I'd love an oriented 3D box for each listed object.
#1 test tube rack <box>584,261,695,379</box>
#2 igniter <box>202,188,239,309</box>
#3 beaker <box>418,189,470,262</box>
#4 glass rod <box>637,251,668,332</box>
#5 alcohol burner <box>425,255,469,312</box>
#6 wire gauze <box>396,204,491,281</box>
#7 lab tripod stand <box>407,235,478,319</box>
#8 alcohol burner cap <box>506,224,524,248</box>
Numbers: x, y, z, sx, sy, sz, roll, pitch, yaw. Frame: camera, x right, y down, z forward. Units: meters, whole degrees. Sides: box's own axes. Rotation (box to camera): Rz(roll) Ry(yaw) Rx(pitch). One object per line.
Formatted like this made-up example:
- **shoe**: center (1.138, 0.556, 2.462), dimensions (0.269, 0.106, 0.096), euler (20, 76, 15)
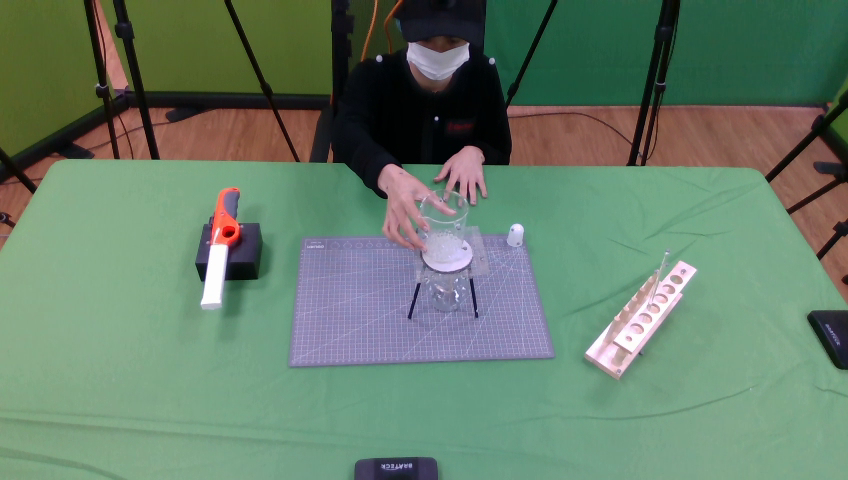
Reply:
- **test tube rack**: center (0.380, 0.127, 1.062), dimensions (0.066, 0.085, 0.242), euler (34, 53, 26)
- **igniter**: center (-0.367, 0.006, 1.095), dimensions (0.057, 0.025, 0.274), euler (-2, 49, -7)
- **beaker**: center (0.028, -0.019, 0.967), dimensions (0.084, 0.101, 0.073), euler (-18, 51, -18)
- **glass rod**: center (0.378, 0.090, 1.005), dimensions (0.008, 0.201, 0.008), euler (-1, 44, 1)
- **alcohol burner**: center (0.041, 0.072, 1.065), dimensions (0.078, 0.120, 0.077), euler (1, 46, -1)
- **wire gauze**: center (0.032, 0.004, 0.999), dimensions (0.125, 0.011, 0.120), euler (-22, 54, -14)
- **lab tripod stand**: center (0.032, 0.065, 1.057), dimensions (0.148, 0.132, 0.147), euler (1, 45, -1)
- **alcohol burner cap**: center (0.184, -0.010, 1.206), dimensions (0.034, 0.048, 0.033), euler (1, 45, -1)
